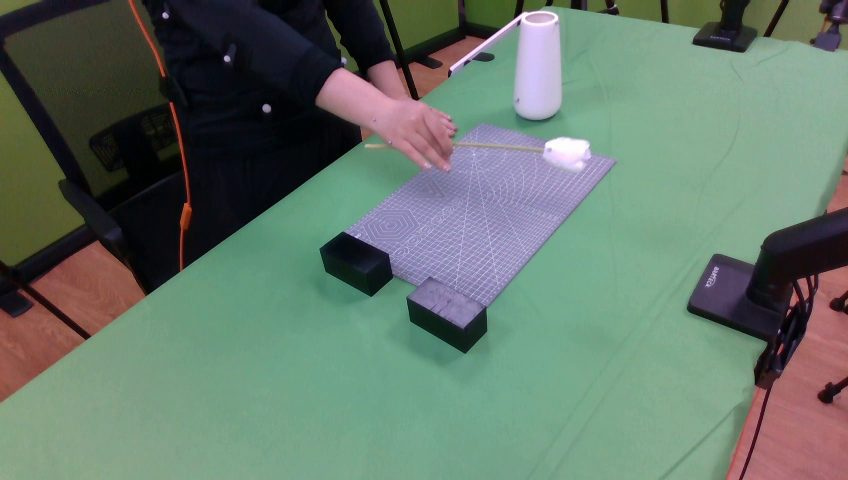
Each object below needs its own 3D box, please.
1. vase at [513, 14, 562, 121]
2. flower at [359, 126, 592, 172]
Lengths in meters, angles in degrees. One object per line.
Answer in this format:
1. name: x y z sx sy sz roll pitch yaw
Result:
1. vase: 0.225 -0.336 1.196 0.098 0.201 0.097 -5 42 5
2. flower: 0.060 -0.144 0.877 0.359 0.044 0.038 12 -1 24
